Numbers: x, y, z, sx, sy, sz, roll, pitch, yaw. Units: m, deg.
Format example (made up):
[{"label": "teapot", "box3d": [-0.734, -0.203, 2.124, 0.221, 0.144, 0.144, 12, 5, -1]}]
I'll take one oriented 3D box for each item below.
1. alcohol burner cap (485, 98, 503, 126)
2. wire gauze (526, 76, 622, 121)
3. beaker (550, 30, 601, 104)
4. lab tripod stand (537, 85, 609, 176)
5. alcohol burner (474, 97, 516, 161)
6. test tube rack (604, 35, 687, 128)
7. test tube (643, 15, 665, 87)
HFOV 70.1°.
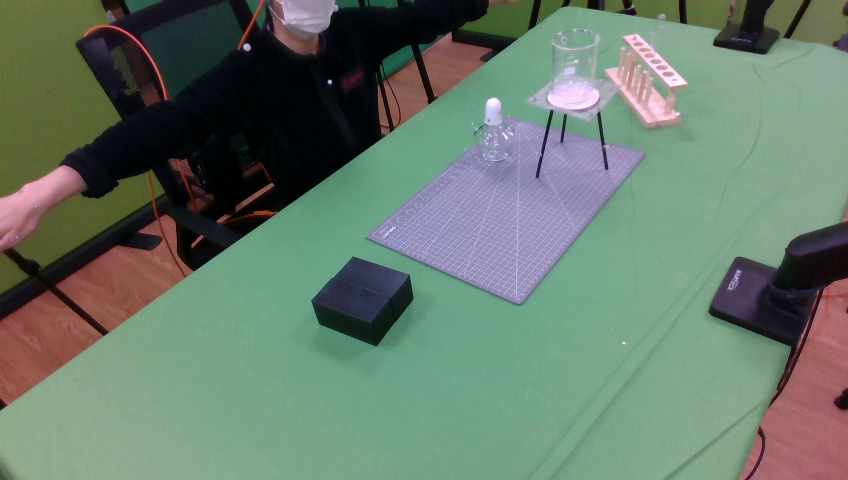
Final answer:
[{"label": "alcohol burner cap", "box3d": [0.126, -0.234, 1.097, 0.034, 0.048, 0.033, -3, 39, 3]}, {"label": "wire gauze", "box3d": [0.255, -0.247, 1.030, 0.124, 0.011, 0.122, 23, 49, 34]}, {"label": "beaker", "box3d": [0.249, -0.285, 1.001, 0.084, 0.101, 0.073, -13, 43, -5]}, {"label": "lab tripod stand", "box3d": [0.259, -0.192, 1.068, 0.148, 0.132, 0.147, -4, 43, 4]}, {"label": "alcohol burner", "box3d": [0.131, -0.208, 1.121, 0.078, 0.119, 0.077, -6, 40, 5]}, {"label": "test tube rack", "box3d": [0.447, -0.330, 1.241, 0.067, 0.085, 0.241, -9, 41, -2]}, {"label": "test tube", "box3d": [0.460, -0.378, 1.219, 0.017, 0.151, 0.017, -1, 43, 1]}]
